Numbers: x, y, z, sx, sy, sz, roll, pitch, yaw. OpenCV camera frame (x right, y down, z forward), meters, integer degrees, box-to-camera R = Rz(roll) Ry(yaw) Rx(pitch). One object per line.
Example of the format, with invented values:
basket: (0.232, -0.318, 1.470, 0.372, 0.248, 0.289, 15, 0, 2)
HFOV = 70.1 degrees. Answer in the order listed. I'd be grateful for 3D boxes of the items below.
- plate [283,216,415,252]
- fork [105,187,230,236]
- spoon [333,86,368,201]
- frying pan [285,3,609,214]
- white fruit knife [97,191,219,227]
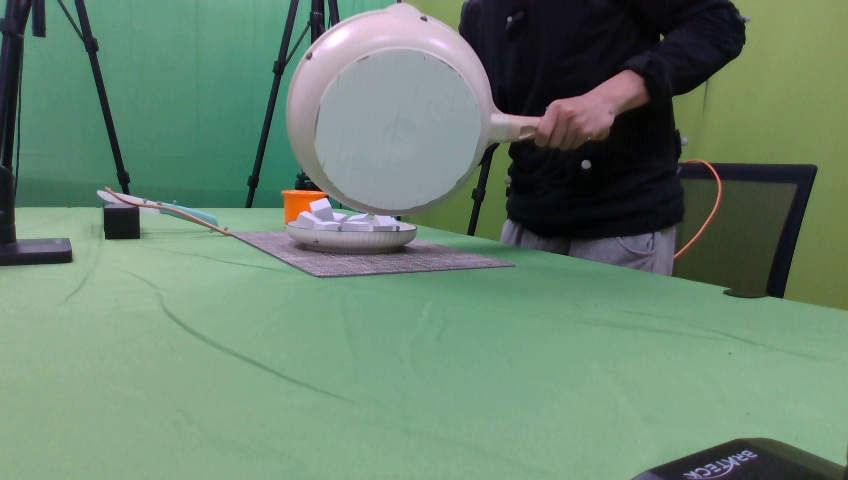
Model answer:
plate: (-0.119, -0.009, 0.968, 0.208, 0.039, 0.207, 3, 7, 0)
fork: (-0.428, -0.047, 1.020, 0.208, 0.018, 0.028, 19, -11, -26)
spoon: (-0.104, -0.147, 0.897, 0.042, 0.193, 0.021, 15, -26, -22)
frying pan: (0.057, -0.165, 0.864, 0.490, 0.306, 0.102, -5, 32, -21)
white fruit knife: (-0.468, -0.056, 1.079, 0.208, 0.027, 0.016, 15, -2, -29)
